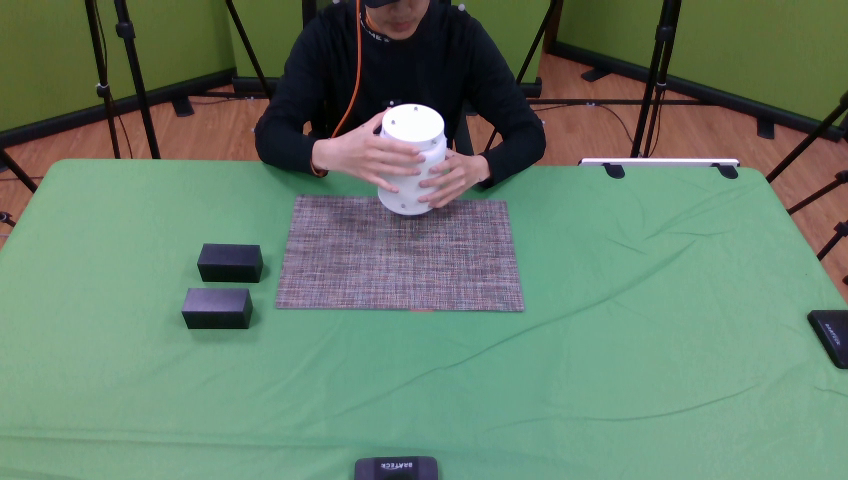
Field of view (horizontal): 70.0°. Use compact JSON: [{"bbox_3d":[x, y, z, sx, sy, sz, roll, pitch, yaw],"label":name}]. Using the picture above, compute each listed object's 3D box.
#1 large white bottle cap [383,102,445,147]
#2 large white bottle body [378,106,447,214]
[{"bbox_3d":[-0.018,-0.213,1.111,0.115,0.018,0.114,3,48,-3],"label":"large white bottle cap"},{"bbox_3d":[-0.024,-0.155,1.173,0.131,0.185,0.130,2,47,-2],"label":"large white bottle body"}]
